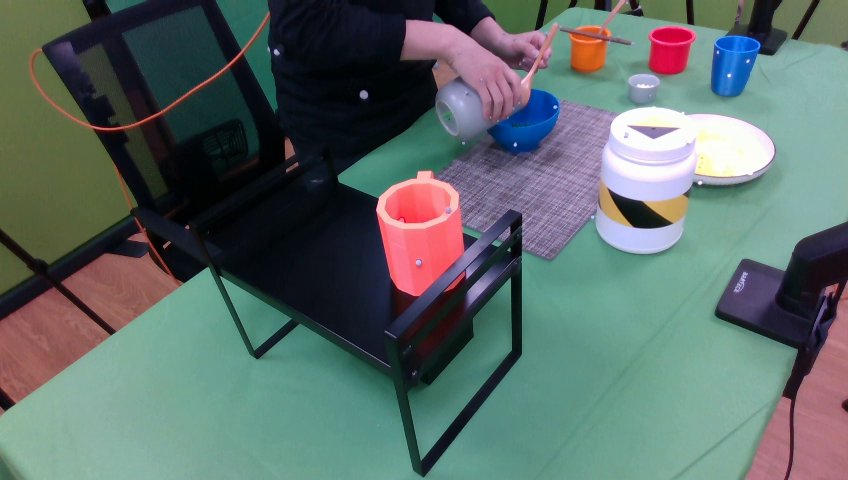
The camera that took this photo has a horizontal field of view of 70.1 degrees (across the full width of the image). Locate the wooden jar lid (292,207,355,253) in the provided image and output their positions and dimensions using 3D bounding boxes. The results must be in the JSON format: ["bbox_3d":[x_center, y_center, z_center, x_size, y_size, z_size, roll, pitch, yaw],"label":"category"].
[{"bbox_3d":[-0.169,-0.015,1.026,0.108,0.021,0.108,-4,40,4],"label":"wooden jar lid"}]

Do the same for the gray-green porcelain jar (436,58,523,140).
[{"bbox_3d":[0.093,-0.245,1.069,0.127,0.106,0.105,-32,45,-14],"label":"gray-green porcelain jar"}]

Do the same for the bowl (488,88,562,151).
[{"bbox_3d":[0.187,-0.223,1.161,0.151,0.077,0.150,-5,41,4],"label":"bowl"}]

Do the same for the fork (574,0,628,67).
[{"bbox_3d":[0.413,-0.481,1.377,0.207,0.019,0.028,-56,43,12],"label":"fork"}]

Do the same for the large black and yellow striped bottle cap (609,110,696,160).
[{"bbox_3d":[0.319,-0.150,0.849,0.115,0.019,0.114,-4,39,3],"label":"large black and yellow striped bottle cap"}]

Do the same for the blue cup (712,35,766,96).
[{"bbox_3d":[0.627,-0.350,1.227,0.092,0.100,0.092,-4,39,4],"label":"blue cup"}]

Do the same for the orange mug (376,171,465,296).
[{"bbox_3d":[0.000,-0.016,0.661,0.083,0.101,0.125,-2,45,8],"label":"orange mug"}]

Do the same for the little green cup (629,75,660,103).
[{"bbox_3d":[0.458,-0.314,1.260,0.061,0.039,0.061,-4,40,4],"label":"little green cup"}]

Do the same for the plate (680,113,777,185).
[{"bbox_3d":[0.506,-0.158,1.073,0.209,0.038,0.208,-5,40,4],"label":"plate"}]

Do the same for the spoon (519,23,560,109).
[{"bbox_3d":[0.209,-0.328,1.137,0.041,0.022,0.193,24,76,17],"label":"spoon"}]

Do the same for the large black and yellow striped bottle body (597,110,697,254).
[{"bbox_3d":[0.331,-0.086,0.904,0.131,0.185,0.130,-5,41,4],"label":"large black and yellow striped bottle body"}]

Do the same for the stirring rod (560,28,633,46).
[{"bbox_3d":[0.382,-0.453,1.345,0.174,0.006,0.014,26,52,33],"label":"stirring rod"}]
